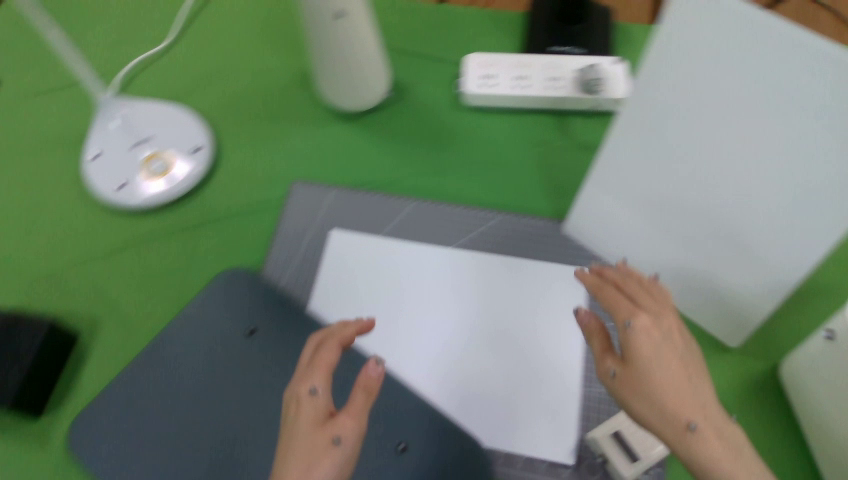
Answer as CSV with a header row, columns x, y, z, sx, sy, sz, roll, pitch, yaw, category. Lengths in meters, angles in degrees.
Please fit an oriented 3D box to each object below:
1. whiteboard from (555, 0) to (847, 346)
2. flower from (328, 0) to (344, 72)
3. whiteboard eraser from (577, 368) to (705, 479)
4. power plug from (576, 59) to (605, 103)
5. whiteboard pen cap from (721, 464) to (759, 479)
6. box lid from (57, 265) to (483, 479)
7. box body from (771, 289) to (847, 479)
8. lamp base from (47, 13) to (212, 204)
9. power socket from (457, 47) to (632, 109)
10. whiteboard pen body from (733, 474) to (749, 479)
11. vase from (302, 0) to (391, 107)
x,y,z,sx,sy,sz,roll,pitch,yaw,category
0.305,-0.084,0.595,0.215,0.307,0.144,39,50,20,whiteboard
-0.082,-0.280,0.644,0.044,0.362,0.038,-29,82,-21,flower
0.206,0.174,0.577,0.113,0.042,0.055,-31,64,-12,whiteboard eraser
0.203,-0.190,0.747,0.035,0.053,0.072,14,71,9,power plug
0.294,0.224,0.566,0.033,0.018,0.018,-27,64,-10,whiteboard pen cap
-0.157,0.206,0.597,0.369,0.015,0.262,34,69,17,box lid
0.485,0.211,0.482,0.254,0.161,0.360,-10,63,-3,box body
-0.359,-0.158,0.695,0.160,0.182,0.178,-41,65,-18,lamp base
0.156,-0.210,0.784,0.226,0.033,0.071,4,64,4,power socket
0.242,0.251,0.555,0.141,0.017,0.017,-26,64,-11,whiteboard pen body
-0.096,-0.253,0.723,0.098,0.201,0.097,-2,62,3,vase
